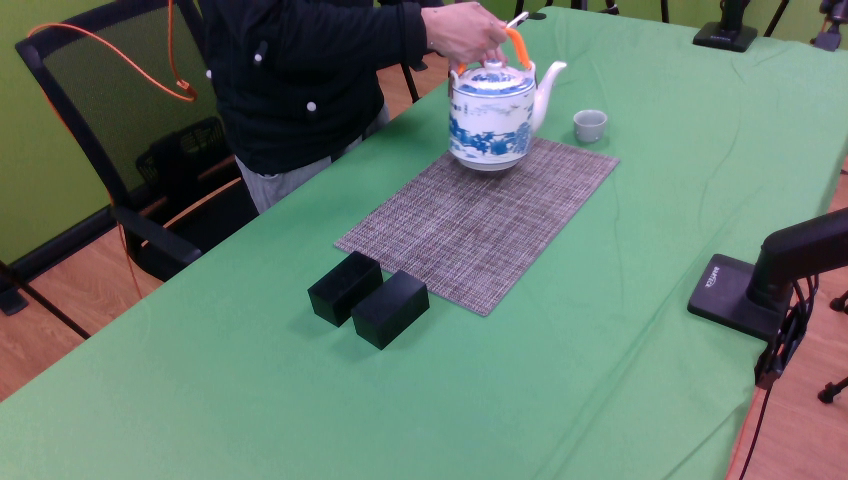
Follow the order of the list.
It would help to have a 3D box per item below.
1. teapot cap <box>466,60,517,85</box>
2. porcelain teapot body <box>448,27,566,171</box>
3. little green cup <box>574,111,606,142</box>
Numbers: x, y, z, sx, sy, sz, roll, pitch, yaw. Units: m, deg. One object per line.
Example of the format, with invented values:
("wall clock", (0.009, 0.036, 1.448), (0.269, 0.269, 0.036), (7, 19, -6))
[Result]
("teapot cap", (0.112, -0.274, 0.999), (0.085, 0.044, 0.085), (2, 35, -1))
("porcelain teapot body", (0.142, -0.247, 1.030), (0.206, 0.226, 0.144), (-10, 35, -14))
("little green cup", (0.318, -0.217, 1.164), (0.061, 0.039, 0.061), (-3, 41, 3))
